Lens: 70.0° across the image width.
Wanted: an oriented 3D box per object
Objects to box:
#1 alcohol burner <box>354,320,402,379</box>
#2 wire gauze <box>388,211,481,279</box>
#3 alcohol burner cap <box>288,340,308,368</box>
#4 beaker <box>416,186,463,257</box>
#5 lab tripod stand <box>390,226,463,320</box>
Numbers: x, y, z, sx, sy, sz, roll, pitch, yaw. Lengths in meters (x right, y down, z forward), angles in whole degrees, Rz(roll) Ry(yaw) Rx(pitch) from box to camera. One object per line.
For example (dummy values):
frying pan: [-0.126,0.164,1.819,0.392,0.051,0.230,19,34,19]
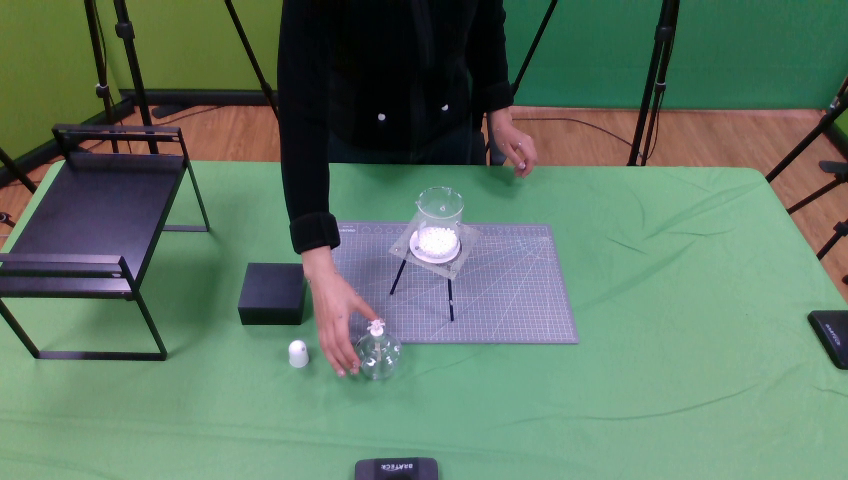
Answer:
alcohol burner: [-0.074,0.169,0.964,0.078,0.120,0.077,0,46,0]
wire gauze: [0.018,0.003,1.020,0.125,0.011,0.121,20,47,18]
alcohol burner cap: [-0.207,0.183,0.991,0.034,0.048,0.033,3,46,-3]
beaker: [0.024,-0.029,0.984,0.074,0.101,0.083,18,49,14]
lab tripod stand: [0.014,0.053,1.063,0.148,0.132,0.147,1,48,-1]
